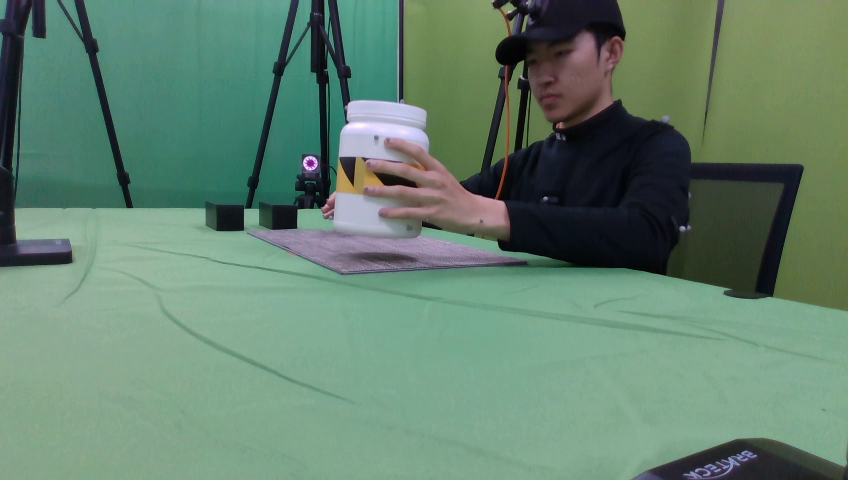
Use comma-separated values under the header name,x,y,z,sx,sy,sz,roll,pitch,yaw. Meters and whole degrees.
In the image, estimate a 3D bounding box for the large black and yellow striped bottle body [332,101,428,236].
name,x,y,z,sx,sy,sz,roll,pitch,yaw
large black and yellow striped bottle body,-0.062,-0.101,0.878,0.131,0.184,0.130,5,4,0

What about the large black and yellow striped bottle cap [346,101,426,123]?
name,x,y,z,sx,sy,sz,roll,pitch,yaw
large black and yellow striped bottle cap,-0.054,-0.182,0.871,0.115,0.019,0.115,4,3,0
